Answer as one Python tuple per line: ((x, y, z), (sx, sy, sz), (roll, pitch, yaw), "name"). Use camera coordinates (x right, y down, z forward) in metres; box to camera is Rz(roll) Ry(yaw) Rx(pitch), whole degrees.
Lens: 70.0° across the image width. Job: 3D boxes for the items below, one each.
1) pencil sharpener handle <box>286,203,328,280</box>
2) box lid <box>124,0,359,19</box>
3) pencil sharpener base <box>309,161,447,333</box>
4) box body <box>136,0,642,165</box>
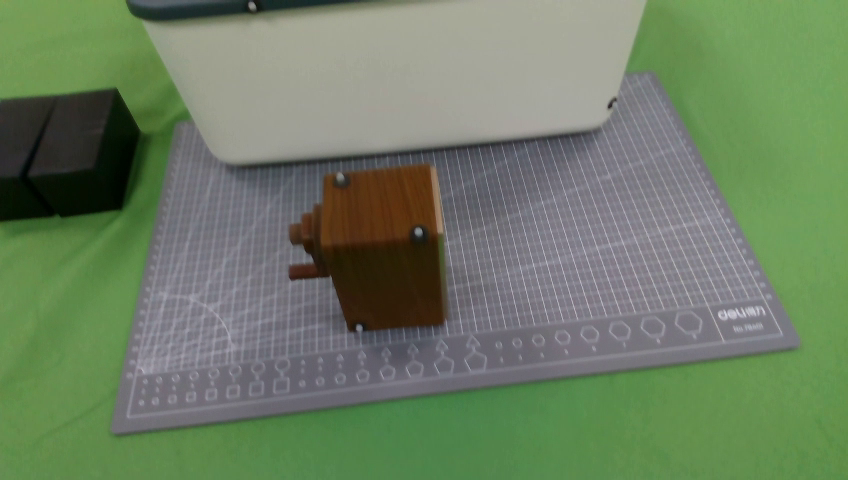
((-0.078, 0.006, 0.383), (0.030, 0.068, 0.035), (-6, 55, 0), "pencil sharpener handle")
((-0.030, -0.260, 0.472), (0.372, 0.015, 0.260), (-6, 51, -1), "box lid")
((-0.027, 0.009, 0.393), (0.077, 0.108, 0.060), (-6, 53, 0), "pencil sharpener base")
((-0.024, -0.214, 0.530), (0.364, 0.162, 0.251), (-6, 52, -1), "box body")
